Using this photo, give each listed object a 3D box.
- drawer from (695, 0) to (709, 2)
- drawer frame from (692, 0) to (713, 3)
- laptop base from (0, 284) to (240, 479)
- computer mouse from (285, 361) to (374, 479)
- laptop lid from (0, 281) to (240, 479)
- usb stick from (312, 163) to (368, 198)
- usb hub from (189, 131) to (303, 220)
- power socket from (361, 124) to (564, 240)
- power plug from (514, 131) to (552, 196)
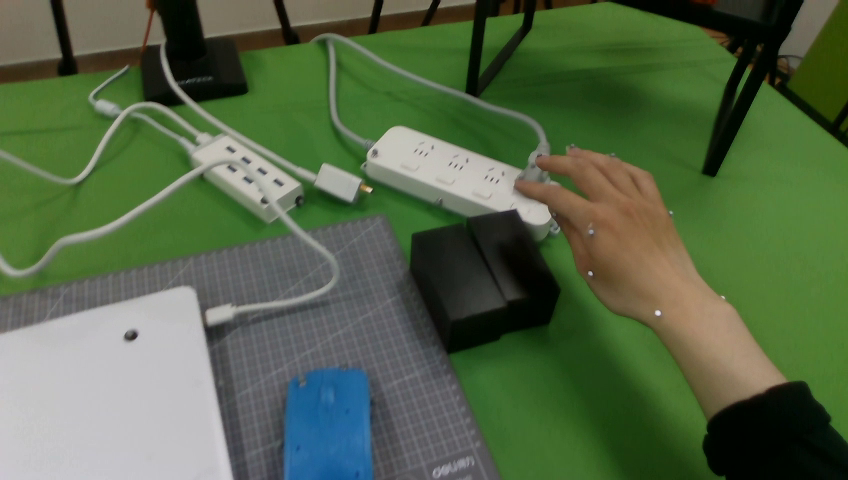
[{"bbox_3d":[0.221,-0.343,0.633,0.194,0.074,0.210,18,48,12],"label":"drawer"},{"bbox_3d":[0.222,-0.346,0.634,0.201,0.083,0.212,17,48,12],"label":"drawer frame"},{"bbox_3d":[-0.317,0.167,0.416,0.355,0.023,0.233,-15,54,-17],"label":"laptop base"},{"bbox_3d":[-0.069,0.137,0.443,0.063,0.041,0.116,-5,44,-6],"label":"computer mouse"},{"bbox_3d":[-0.315,0.160,0.405,0.357,0.013,0.239,-14,53,-16],"label":"laptop lid"},{"bbox_3d":[-0.085,-0.059,0.630,0.059,0.021,0.027,18,90,-10],"label":"usb stick"},{"bbox_3d":[-0.188,-0.070,0.635,0.124,0.025,0.049,33,54,24],"label":"usb hub"},{"bbox_3d":[0.041,-0.065,0.643,0.225,0.033,0.072,23,49,16],"label":"power socket"},{"bbox_3d":[0.121,-0.071,0.624,0.035,0.053,0.072,31,54,24],"label":"power plug"}]
